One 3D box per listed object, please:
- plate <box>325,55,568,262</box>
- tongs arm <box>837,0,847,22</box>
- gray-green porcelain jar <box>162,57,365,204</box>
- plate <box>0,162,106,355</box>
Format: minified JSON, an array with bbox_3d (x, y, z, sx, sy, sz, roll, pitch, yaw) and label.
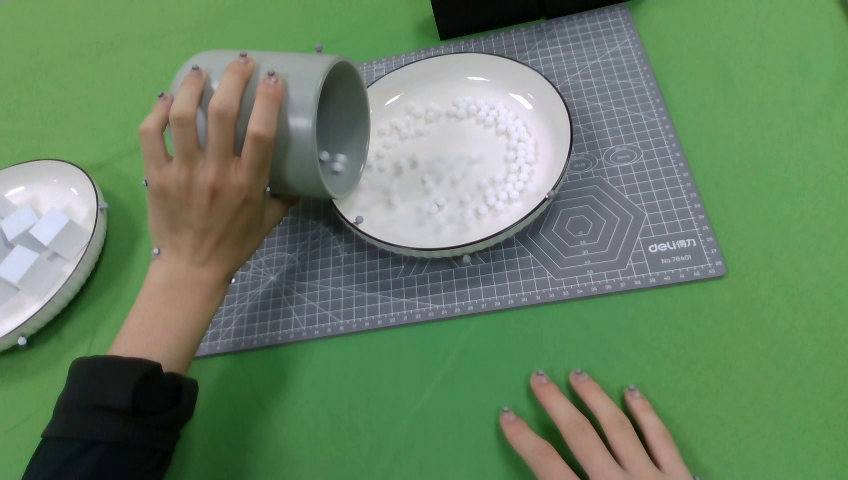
[{"bbox_3d":[0.015,-0.069,0.505,0.209,0.038,0.207,-7,57,11],"label":"plate"},{"bbox_3d":[0.368,-0.127,0.462,0.028,0.028,0.384,-6,57,8],"label":"tongs arm"},{"bbox_3d":[-0.122,-0.085,0.463,0.126,0.107,0.105,6,60,14],"label":"gray-green porcelain jar"},{"bbox_3d":[-0.383,0.021,0.554,0.207,0.039,0.205,-6,57,10],"label":"plate"}]
